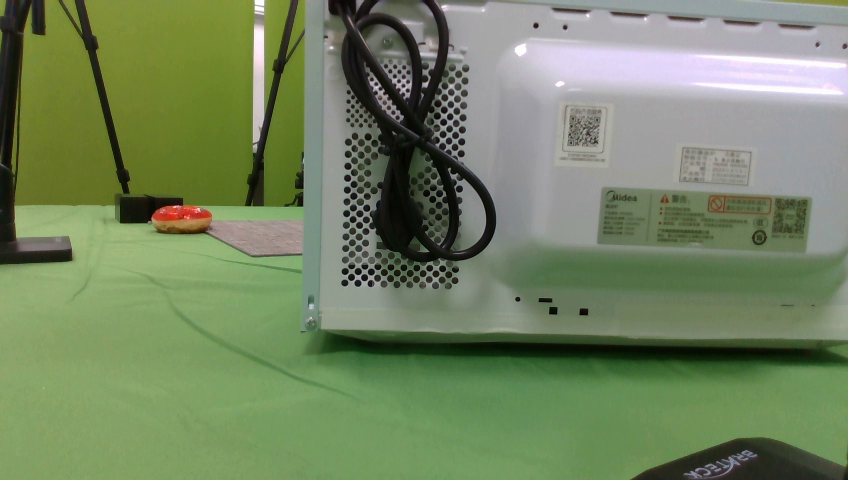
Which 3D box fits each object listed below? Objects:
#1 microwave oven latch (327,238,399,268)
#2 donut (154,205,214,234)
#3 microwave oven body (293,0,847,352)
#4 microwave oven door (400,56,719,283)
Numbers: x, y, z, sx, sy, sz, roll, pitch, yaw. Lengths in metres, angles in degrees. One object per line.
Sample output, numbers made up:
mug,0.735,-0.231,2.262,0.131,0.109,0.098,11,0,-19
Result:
microwave oven latch,-0.069,0.015,0.694,0.079,0.029,0.030,3,7,-3
donut,-0.426,-0.037,1.075,0.099,0.048,0.099,2,12,0
microwave oven body,0.122,-0.055,0.550,0.442,0.260,0.325,3,7,-5
microwave oven door,0.155,-0.077,0.697,0.356,0.243,0.039,2,8,-5
